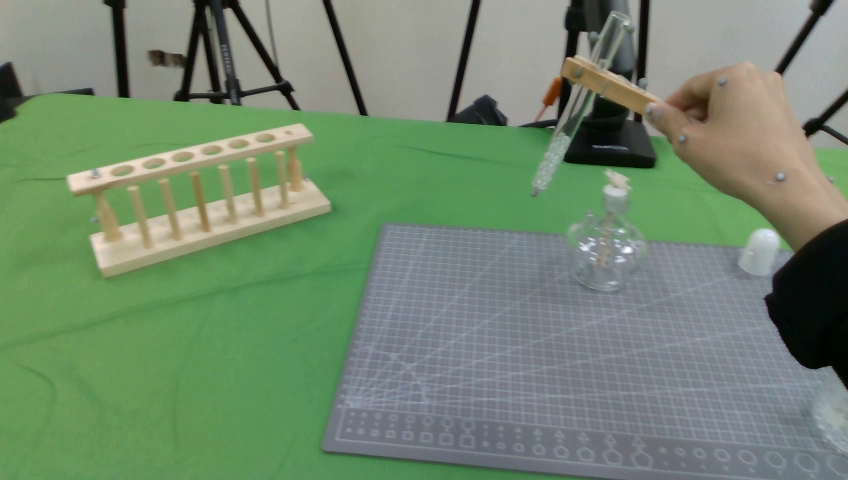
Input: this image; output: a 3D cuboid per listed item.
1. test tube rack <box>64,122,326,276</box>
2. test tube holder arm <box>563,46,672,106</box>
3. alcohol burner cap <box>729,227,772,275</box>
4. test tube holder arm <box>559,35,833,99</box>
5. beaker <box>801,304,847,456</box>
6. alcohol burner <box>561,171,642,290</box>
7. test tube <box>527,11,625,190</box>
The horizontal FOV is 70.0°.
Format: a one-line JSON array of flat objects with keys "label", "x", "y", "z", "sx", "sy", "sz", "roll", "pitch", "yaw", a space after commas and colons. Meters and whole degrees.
[{"label": "test tube rack", "x": -0.232, "y": -0.050, "z": 0.645, "sx": 0.243, "sy": 0.086, "sz": 0.066, "roll": -19, "pitch": 42, "yaw": -26}, {"label": "test tube holder arm", "x": 0.144, "y": -0.120, "z": 0.444, "sx": 0.088, "sy": 0.010, "sz": 0.015, "roll": 19, "pitch": 50, "yaw": -5}, {"label": "alcohol burner cap", "x": 0.339, "y": 0.009, "z": 0.625, "sx": 0.034, "sy": 0.048, "sz": 0.033, "roll": 1, "pitch": 37, "yaw": -1}, {"label": "test tube holder arm", "x": 0.186, "y": -0.121, "z": 0.430, "sx": 0.178, "sy": 0.013, "sz": 0.015, "roll": -6, "pitch": 44, "yaw": 22}, {"label": "beaker", "x": 0.330, "y": 0.105, "z": 0.445, "sx": 0.074, "sy": 0.101, "sz": 0.083, "roll": -13, "pitch": 39, "yaw": -19}, {"label": "alcohol burner", "x": 0.173, "y": -0.012, "z": 0.585, "sx": 0.078, "sy": 0.120, "sz": 0.077, "roll": 0, "pitch": 35, "yaw": 0}, {"label": "test tube", "x": 0.113, "y": -0.101, "z": 0.465, "sx": 0.017, "sy": 0.151, "sz": 0.017, "roll": 13, "pitch": 37, "yaw": -10}]
